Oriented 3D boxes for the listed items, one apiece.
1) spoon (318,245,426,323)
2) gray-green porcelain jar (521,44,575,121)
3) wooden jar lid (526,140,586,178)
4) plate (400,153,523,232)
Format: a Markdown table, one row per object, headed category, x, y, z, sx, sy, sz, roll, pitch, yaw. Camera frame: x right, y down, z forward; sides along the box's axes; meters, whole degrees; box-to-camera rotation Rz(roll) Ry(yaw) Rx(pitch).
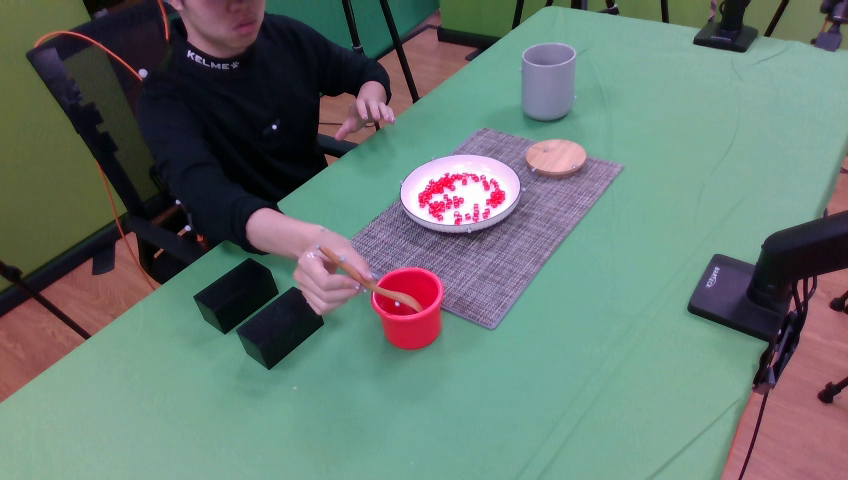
| category | x | y | z | sx | sy | sz | roll | pitch | yaw |
| --- | --- | --- | --- | --- | --- | --- | --- | --- | --- |
| spoon | -0.060 | 0.058 | 0.754 | 0.021 | 0.195 | 0.041 | -53 | 38 | 3 |
| gray-green porcelain jar | 0.249 | -0.313 | 1.219 | 0.106 | 0.127 | 0.105 | -4 | 41 | 4 |
| wooden jar lid | 0.240 | -0.147 | 1.103 | 0.108 | 0.021 | 0.108 | -4 | 42 | 4 |
| plate | 0.065 | -0.078 | 1.034 | 0.207 | 0.039 | 0.206 | -4 | 41 | 4 |
